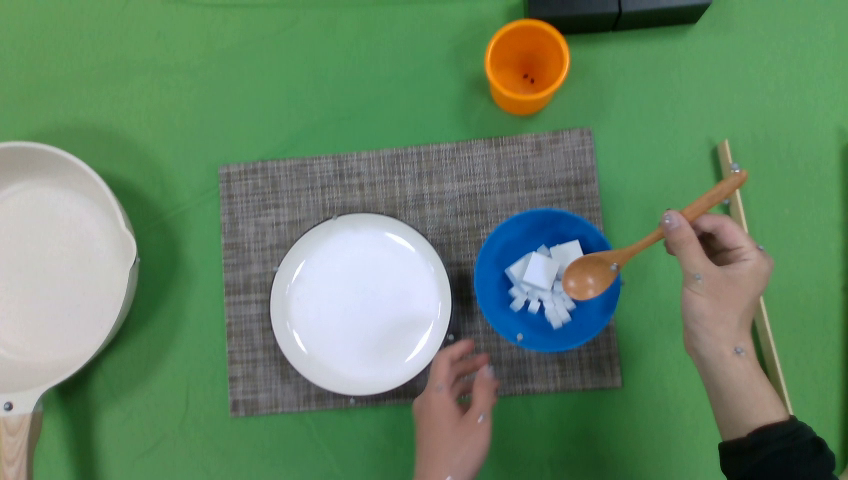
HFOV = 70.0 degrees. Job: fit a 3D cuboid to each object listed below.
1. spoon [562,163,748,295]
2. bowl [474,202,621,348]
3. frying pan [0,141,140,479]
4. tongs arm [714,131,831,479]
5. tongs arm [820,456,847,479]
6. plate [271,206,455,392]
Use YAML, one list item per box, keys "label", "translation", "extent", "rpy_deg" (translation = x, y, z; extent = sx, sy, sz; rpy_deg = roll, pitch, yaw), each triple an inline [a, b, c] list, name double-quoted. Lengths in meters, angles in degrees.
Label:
- label: "spoon"
  translation: [0.193, -0.004, 0.524]
  extent: [0.041, 0.021, 0.194]
  rpy_deg: [47, 134, -1]
- label: "bowl"
  translation: [0.129, 0.039, 0.657]
  extent: [0.151, 0.077, 0.151]
  rpy_deg: [0, 84, 4]
- label: "frying pan"
  translation: [-0.455, 0.133, 0.682]
  extent: [0.307, 0.103, 0.485]
  rpy_deg: [-8, 75, 4]
- label: "tongs arm"
  translation: [0.374, 0.066, 0.665]
  extent: [0.028, 0.028, 0.386]
  rpy_deg: [-12, 83, 1]
- label: "tongs arm"
  translation: [0.455, 0.061, 0.655]
  extent: [0.051, 0.026, 0.384]
  rpy_deg: [1, 85, 6]
- label: "plate"
  translation: [-0.067, 0.066, 0.690]
  extent: [0.207, 0.039, 0.207]
  rpy_deg: [0, 84, 5]
